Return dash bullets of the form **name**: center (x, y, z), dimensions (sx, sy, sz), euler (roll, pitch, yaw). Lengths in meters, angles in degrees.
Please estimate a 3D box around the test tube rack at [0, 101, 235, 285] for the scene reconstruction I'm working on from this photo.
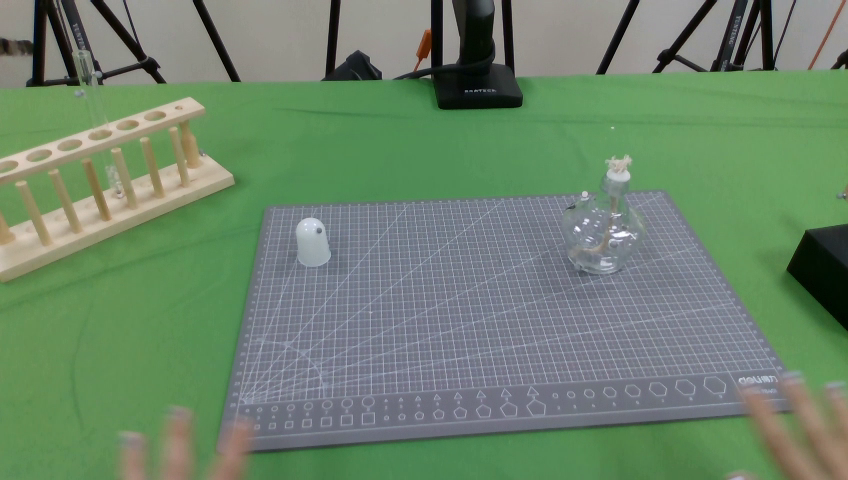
- **test tube rack**: center (-0.325, -0.056, 0.618), dimensions (0.242, 0.086, 0.066), euler (-30, 49, -33)

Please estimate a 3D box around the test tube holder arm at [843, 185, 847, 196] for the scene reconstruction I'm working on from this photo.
- **test tube holder arm**: center (0.426, -0.026, 0.568), dimensions (0.015, 0.010, 0.087), euler (1, 39, -3)

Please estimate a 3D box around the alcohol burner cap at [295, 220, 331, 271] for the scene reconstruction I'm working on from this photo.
- **alcohol burner cap**: center (-0.108, 0.003, 0.583), dimensions (0.034, 0.048, 0.033), euler (1, 40, 0)

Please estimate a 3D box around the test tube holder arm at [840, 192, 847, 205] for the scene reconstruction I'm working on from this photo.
- **test tube holder arm**: center (0.427, 0.007, 0.536), dimensions (0.015, 0.013, 0.176), euler (1, 38, -3)

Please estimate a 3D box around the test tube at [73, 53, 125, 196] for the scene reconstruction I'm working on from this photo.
- **test tube**: center (-0.323, -0.111, 0.607), dimensions (0.017, 0.151, 0.017), euler (3, 34, -1)

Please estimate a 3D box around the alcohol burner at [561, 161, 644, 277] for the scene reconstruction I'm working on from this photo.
- **alcohol burner**: center (0.170, -0.024, 0.565), dimensions (0.078, 0.120, 0.077), euler (1, 41, -1)
